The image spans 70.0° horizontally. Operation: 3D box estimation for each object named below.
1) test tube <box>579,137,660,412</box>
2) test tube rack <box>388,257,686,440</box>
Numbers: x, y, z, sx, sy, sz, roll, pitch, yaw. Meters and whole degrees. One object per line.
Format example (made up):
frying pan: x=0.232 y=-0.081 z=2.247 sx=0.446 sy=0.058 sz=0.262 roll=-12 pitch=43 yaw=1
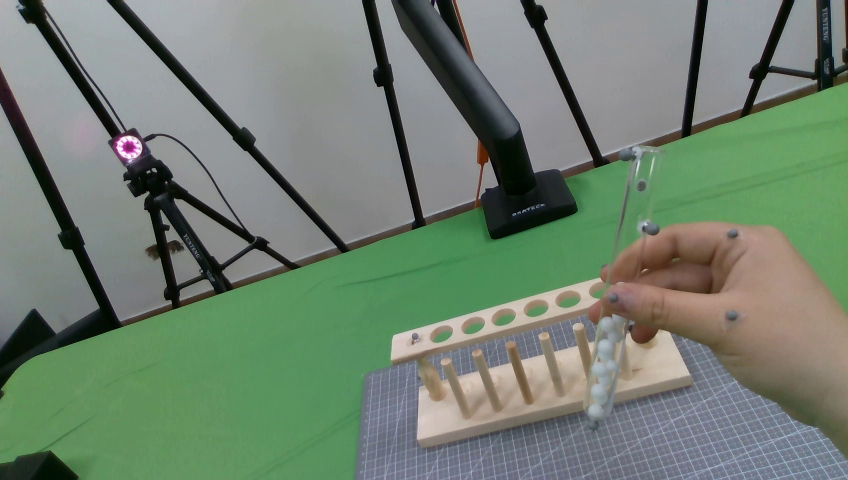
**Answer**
test tube: x=0.100 y=0.022 z=0.314 sx=0.017 sy=0.151 sz=0.017 roll=5 pitch=17 yaw=-1
test tube rack: x=0.094 y=0.100 z=0.539 sx=0.242 sy=0.086 sz=0.066 roll=-17 pitch=32 yaw=11
